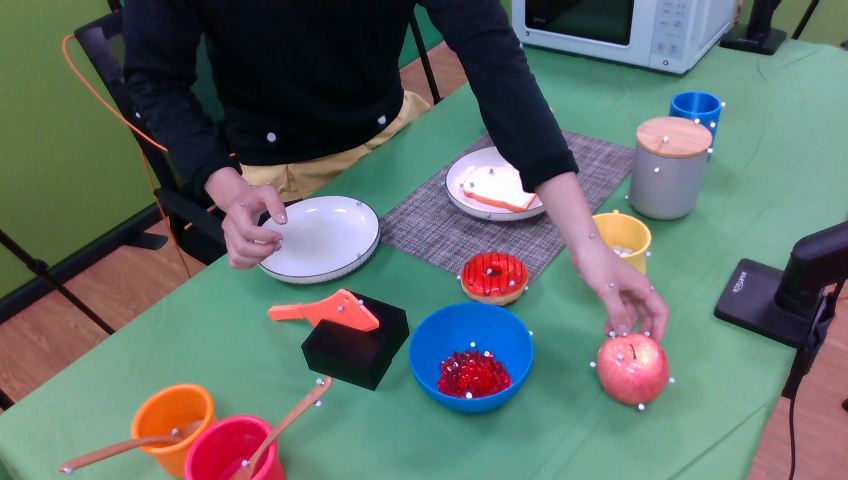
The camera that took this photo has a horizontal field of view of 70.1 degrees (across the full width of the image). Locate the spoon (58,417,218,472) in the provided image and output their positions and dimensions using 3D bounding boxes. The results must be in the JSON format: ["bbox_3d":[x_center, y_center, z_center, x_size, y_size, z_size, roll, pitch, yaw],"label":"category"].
[{"bbox_3d":[-0.304,0.221,0.661,0.041,0.195,0.021,21,93,26],"label":"spoon"}]

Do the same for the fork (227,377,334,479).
[{"bbox_3d":[-0.162,0.216,0.647,0.207,0.019,0.028,-49,41,16],"label":"fork"}]

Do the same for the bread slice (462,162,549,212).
[{"bbox_3d":[0.135,-0.093,1.045,0.133,0.018,0.107,15,45,23],"label":"bread slice"}]

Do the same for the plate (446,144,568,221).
[{"bbox_3d":[0.142,-0.096,1.045,0.207,0.039,0.206,-4,40,4],"label":"plate"}]

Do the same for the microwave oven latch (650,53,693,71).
[{"bbox_3d":[0.531,-0.386,1.300,0.078,0.029,0.030,25,51,33],"label":"microwave oven latch"}]

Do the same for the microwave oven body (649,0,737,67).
[{"bbox_3d":[0.475,-0.602,1.411,0.438,0.261,0.327,23,50,32],"label":"microwave oven body"}]

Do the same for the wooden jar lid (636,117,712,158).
[{"bbox_3d":[0.377,-0.151,0.917,0.108,0.021,0.108,-2,41,3],"label":"wooden jar lid"}]

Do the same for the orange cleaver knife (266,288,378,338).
[{"bbox_3d":[-0.143,0.104,0.823,0.210,0.077,0.012,-12,28,43],"label":"orange cleaver knife"}]

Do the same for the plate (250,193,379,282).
[{"bbox_3d":[-0.174,-0.001,0.984,0.209,0.038,0.208,-3,40,3],"label":"plate"}]

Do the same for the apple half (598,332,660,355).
[{"bbox_3d":[0.248,0.135,0.736,0.081,0.081,0.032,-1,46,7],"label":"apple half"}]

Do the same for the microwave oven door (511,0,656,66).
[{"bbox_3d":[0.350,-0.539,1.348,0.353,0.245,0.039,24,50,31],"label":"microwave oven door"}]

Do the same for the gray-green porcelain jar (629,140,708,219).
[{"bbox_3d":[0.383,-0.105,0.958,0.106,0.127,0.105,-4,41,4],"label":"gray-green porcelain jar"}]

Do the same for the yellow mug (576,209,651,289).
[{"bbox_3d":[0.278,0.004,0.893,0.099,0.064,0.130,6,42,14],"label":"yellow mug"}]

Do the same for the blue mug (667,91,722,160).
[{"bbox_3d":[0.474,-0.207,1.079,0.082,0.106,0.116,4,42,13],"label":"blue mug"}]

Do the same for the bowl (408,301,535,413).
[{"bbox_3d":[0.060,0.156,0.739,0.151,0.077,0.150,-4,40,4],"label":"bowl"}]

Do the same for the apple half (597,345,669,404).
[{"bbox_3d":[0.246,0.163,0.709,0.081,0.075,0.053,1,46,4],"label":"apple half"}]

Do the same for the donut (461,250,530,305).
[{"bbox_3d":[0.103,0.053,0.872,0.099,0.048,0.098,-5,40,4],"label":"donut"}]

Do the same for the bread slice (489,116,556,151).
[{"bbox_3d":[0.193,-0.200,1.168,0.105,0.019,0.130,-11,35,-6],"label":"bread slice"}]
